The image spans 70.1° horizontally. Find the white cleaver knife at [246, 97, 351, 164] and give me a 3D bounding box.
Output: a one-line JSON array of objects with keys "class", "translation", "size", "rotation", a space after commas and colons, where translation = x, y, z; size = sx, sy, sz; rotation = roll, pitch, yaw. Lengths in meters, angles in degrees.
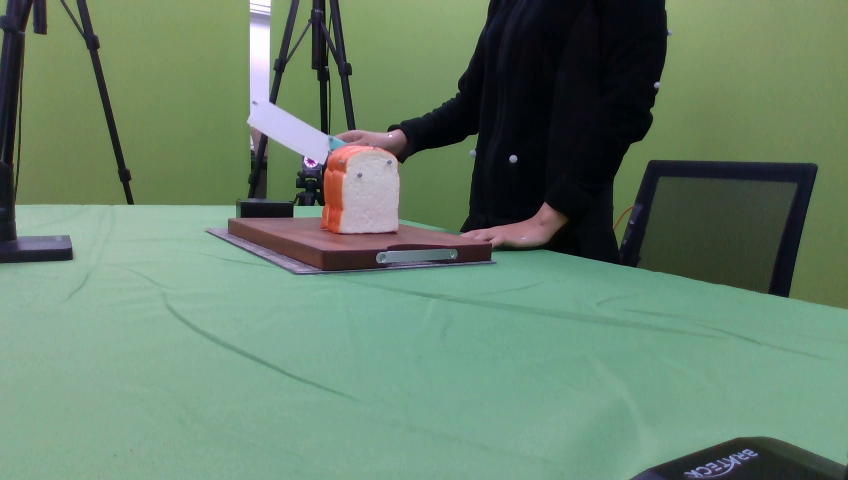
[{"class": "white cleaver knife", "translation": [-0.205, -0.184, 1.168], "size": [0.288, 0.066, 0.021], "rotation": [25, -8, -31]}]

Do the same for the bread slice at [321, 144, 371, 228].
[{"class": "bread slice", "translation": [-0.106, -0.083, 0.952], "size": [0.107, 0.134, 0.018], "rotation": [2, 6, -32]}]

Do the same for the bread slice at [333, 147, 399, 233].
[{"class": "bread slice", "translation": [-0.084, -0.074, 0.908], "size": [0.105, 0.131, 0.019], "rotation": [-4, 15, -31]}]
